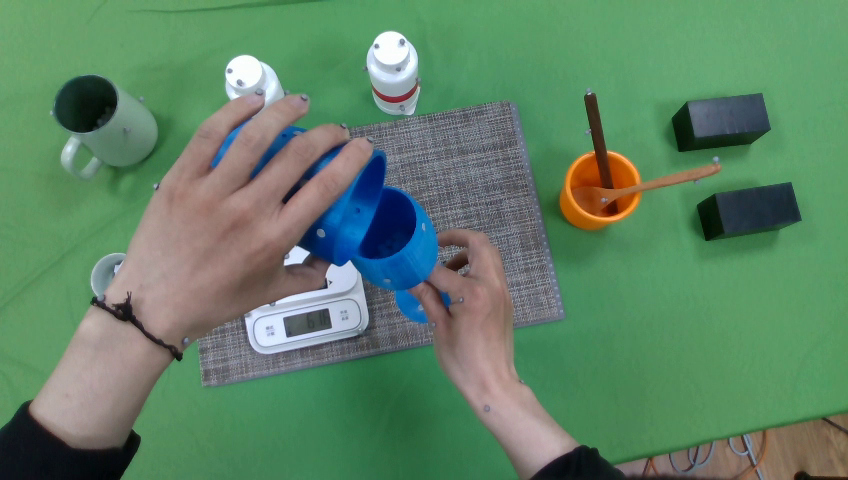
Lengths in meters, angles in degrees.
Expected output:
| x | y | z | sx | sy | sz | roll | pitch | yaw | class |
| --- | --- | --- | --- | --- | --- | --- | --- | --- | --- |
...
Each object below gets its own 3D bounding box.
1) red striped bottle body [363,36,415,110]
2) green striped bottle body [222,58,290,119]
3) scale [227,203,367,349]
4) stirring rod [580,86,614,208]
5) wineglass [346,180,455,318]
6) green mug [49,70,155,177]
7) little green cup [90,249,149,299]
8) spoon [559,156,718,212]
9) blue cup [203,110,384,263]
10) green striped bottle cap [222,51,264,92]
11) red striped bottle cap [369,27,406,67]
| x | y | z | sx | sy | sz | roll | pitch | yaw | class |
| --- | --- | --- | --- | --- | --- | --- | --- | --- | --- |
| -0.043 | -0.217 | 0.767 | 0.063 | 0.120 | 0.063 | 0 | 78 | 0 | red striped bottle body |
| -0.210 | -0.184 | 0.758 | 0.063 | 0.119 | 0.063 | 0 | 78 | 0 | green striped bottle body |
| -0.160 | 0.026 | 0.758 | 0.149 | 0.031 | 0.200 | -11 | 79 | -2 | scale |
| 0.210 | -0.107 | 0.730 | 0.014 | 0.178 | 0.006 | 0 | 44 | 29 | stirring rod |
| -0.018 | 0.015 | 0.522 | 0.073 | 0.173 | 0.073 | -4 | 68 | 11 | wineglass |
| -0.407 | -0.137 | 0.756 | 0.092 | 0.105 | 0.125 | 24 | 79 | 4 | green mug |
| -0.375 | 0.044 | 0.753 | 0.061 | 0.039 | 0.061 | 0 | 79 | -1 | little green cup |
| 0.250 | -0.069 | 0.725 | 0.022 | 0.193 | 0.041 | -7 | 86 | -46 | spoon |
| -0.091 | -0.043 | 0.415 | 0.100 | 0.093 | 0.092 | 24 | 79 | 8 | blue cup |
| -0.210 | -0.196 | 0.704 | 0.044 | 0.020 | 0.044 | 0 | 78 | 1 | green striped bottle cap |
| -0.043 | -0.228 | 0.714 | 0.044 | 0.018 | 0.044 | 0 | 75 | 1 | red striped bottle cap |
